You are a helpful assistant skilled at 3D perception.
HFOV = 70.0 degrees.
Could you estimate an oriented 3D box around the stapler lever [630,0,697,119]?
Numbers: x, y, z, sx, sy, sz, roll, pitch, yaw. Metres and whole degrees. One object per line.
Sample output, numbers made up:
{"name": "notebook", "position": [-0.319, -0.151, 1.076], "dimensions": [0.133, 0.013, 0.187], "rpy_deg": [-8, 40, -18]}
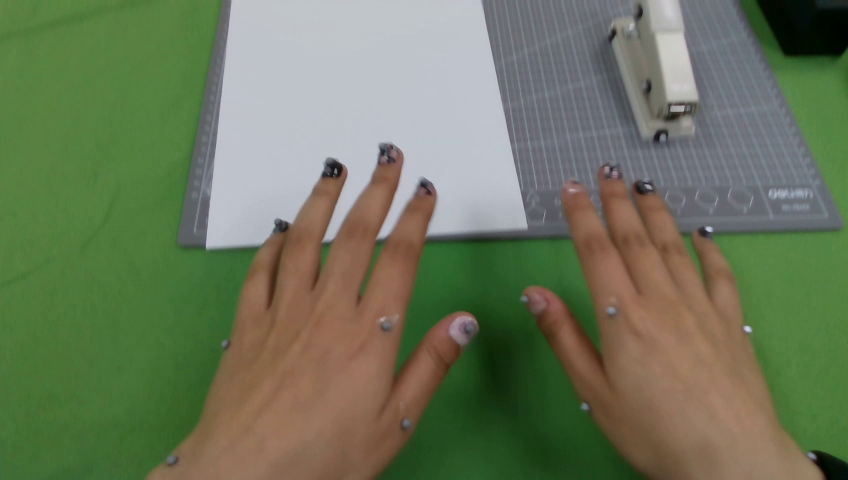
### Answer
{"name": "stapler lever", "position": [0.179, -0.145, 0.451], "dimensions": [0.027, 0.040, 0.117], "rpy_deg": [-3, 62, -1]}

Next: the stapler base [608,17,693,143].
{"name": "stapler base", "position": [0.178, -0.134, 0.474], "dimensions": [0.041, 0.024, 0.129], "rpy_deg": [-3, 62, -1]}
